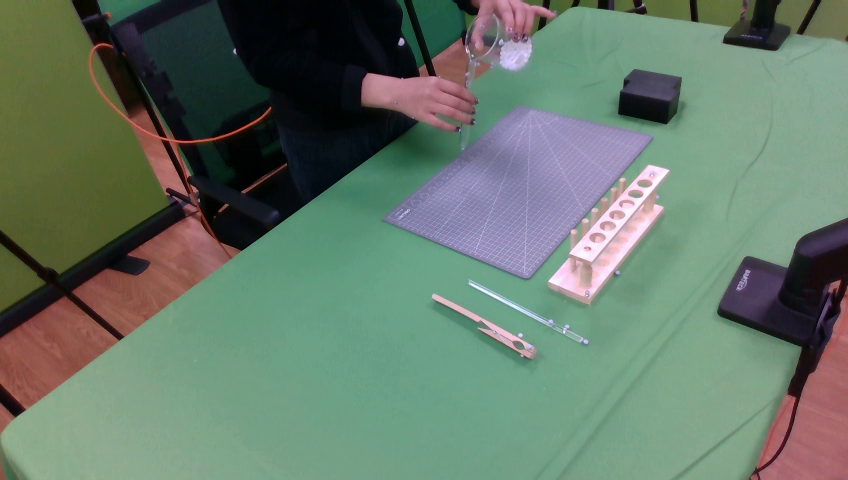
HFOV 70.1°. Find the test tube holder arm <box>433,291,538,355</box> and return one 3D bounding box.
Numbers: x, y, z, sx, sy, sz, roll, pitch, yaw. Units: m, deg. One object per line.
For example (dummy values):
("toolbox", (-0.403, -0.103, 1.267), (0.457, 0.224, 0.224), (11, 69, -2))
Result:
("test tube holder arm", (0.081, 0.112, 0.832), (0.177, 0.015, 0.013), (29, 82, 36))

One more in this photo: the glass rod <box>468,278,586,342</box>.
("glass rod", (0.140, 0.096, 0.853), (0.198, 0.008, 0.008), (27, 52, 35))

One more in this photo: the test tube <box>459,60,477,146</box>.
("test tube", (0.075, -0.235, 1.046), (0.017, 0.150, 0.017), (4, 29, -2))

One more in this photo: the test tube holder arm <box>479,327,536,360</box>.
("test tube holder arm", (0.110, 0.134, 0.805), (0.087, 0.015, 0.010), (29, 83, 36))

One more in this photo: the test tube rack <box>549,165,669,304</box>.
("test tube rack", (0.279, -0.018, 0.902), (0.066, 0.085, 0.243), (24, 50, 33))

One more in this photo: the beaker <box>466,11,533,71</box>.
("beaker", (0.130, -0.330, 1.026), (0.101, 0.084, 0.073), (6, 30, -42))
